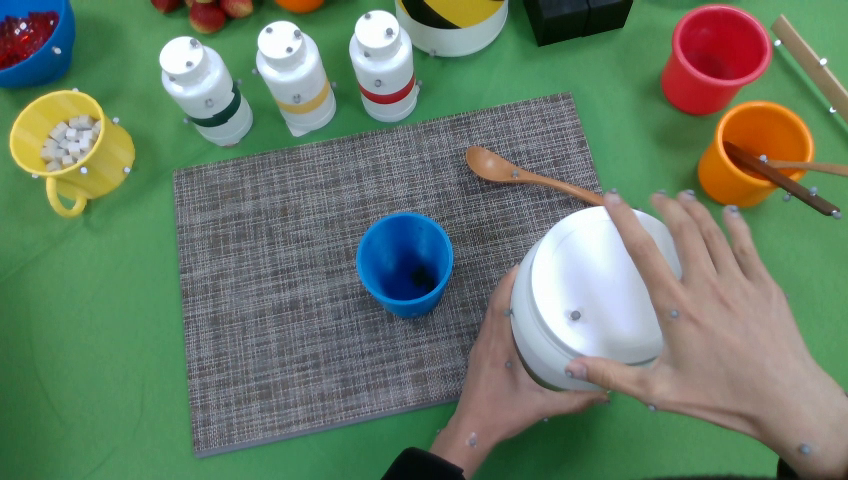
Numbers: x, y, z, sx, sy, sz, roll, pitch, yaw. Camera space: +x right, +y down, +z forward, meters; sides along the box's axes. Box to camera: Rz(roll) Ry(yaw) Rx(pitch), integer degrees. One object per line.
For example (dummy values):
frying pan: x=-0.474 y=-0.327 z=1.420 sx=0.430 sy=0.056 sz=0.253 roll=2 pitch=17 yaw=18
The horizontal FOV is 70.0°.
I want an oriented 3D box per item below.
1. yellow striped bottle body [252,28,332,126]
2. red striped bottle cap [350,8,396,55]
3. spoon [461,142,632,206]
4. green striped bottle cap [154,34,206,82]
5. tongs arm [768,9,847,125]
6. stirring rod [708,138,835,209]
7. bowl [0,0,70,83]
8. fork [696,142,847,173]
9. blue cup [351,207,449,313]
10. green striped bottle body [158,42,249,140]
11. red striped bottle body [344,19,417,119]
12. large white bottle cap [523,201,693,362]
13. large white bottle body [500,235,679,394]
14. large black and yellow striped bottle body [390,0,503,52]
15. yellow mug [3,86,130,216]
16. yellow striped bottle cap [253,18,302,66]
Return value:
yellow striped bottle body: x=-0.138 y=-0.175 z=0.633 sx=0.063 sy=0.121 sz=0.062 roll=-1 pitch=71 yaw=3
red striped bottle cap: x=-0.049 y=-0.201 z=0.583 sx=0.044 sy=0.018 sz=0.044 roll=0 pitch=70 yaw=-1
spoon: x=0.130 y=-0.061 z=0.632 sx=0.193 sy=0.022 sz=0.041 roll=19 pitch=49 yaw=8
green striped bottle cap: x=-0.235 y=-0.175 z=0.583 sx=0.044 sy=0.020 sz=0.044 roll=-1 pitch=71 yaw=2
tongs arm: x=0.490 y=-0.096 z=0.624 sx=0.051 sy=0.027 sz=0.382 roll=-24 pitch=73 yaw=-7
stirring rod: x=0.320 y=-0.066 z=0.570 sx=0.014 sy=0.006 sz=0.174 roll=-10 pitch=28 yaw=-3
bowl: x=-0.466 y=-0.233 z=0.688 sx=0.151 sy=0.077 sz=0.150 roll=0 pitch=72 yaw=2
fork: x=0.350 y=-0.071 z=0.563 sx=0.028 sy=0.019 sz=0.205 roll=-52 pitch=33 yaw=-11
blue cup: x=-0.019 y=0.028 z=0.568 sx=0.092 sy=0.101 sz=0.092 roll=0 pitch=71 yaw=1
green striped bottle body: x=-0.231 y=-0.159 z=0.632 sx=0.063 sy=0.120 sz=0.063 roll=-1 pitch=71 yaw=2
red striped bottle body: x=-0.045 y=-0.183 z=0.632 sx=0.063 sy=0.120 sz=0.062 roll=-2 pitch=70 yaw=6
large white bottle cap: x=0.128 y=0.027 z=0.424 sx=0.115 sy=0.018 sz=0.114 roll=-1 pitch=71 yaw=3
large white bottle body: x=0.134 y=0.056 z=0.507 sx=0.130 sy=0.186 sz=0.129 roll=-1 pitch=71 yaw=3
large black and yellow striped bottle body: x=0.022 y=-0.302 z=0.634 sx=0.131 sy=0.185 sz=0.130 roll=-1 pitch=72 yaw=3
yellow mug: x=-0.379 y=-0.089 z=0.644 sx=0.100 sy=0.064 sz=0.130 roll=-2 pitch=72 yaw=1
yellow striped bottle cap: x=-0.141 y=-0.192 z=0.584 sx=0.044 sy=0.019 sz=0.044 roll=0 pitch=73 yaw=1
